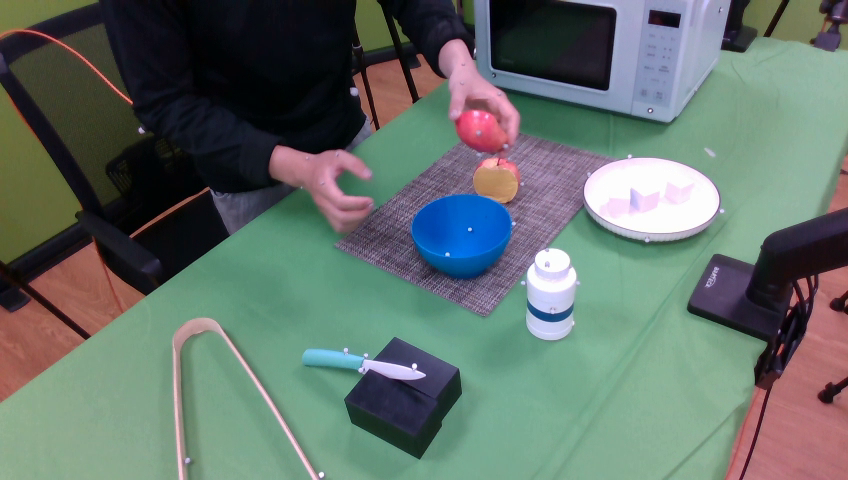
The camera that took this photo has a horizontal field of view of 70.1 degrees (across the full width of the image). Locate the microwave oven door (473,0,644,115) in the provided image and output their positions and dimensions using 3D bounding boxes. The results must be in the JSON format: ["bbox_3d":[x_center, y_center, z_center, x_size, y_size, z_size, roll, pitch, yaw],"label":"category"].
[{"bbox_3d":[0.257,-0.396,1.199,0.353,0.245,0.039,21,48,29],"label":"microwave oven door"}]

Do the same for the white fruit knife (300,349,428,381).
[{"bbox_3d":[-0.080,0.155,0.748,0.206,0.027,0.016,0,20,34],"label":"white fruit knife"}]

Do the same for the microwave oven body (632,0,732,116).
[{"bbox_3d":[0.377,-0.462,1.267,0.438,0.261,0.327,21,48,30],"label":"microwave oven body"}]

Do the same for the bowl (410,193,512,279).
[{"bbox_3d":[0.058,0.005,0.905,0.151,0.077,0.150,-4,40,4],"label":"bowl"}]

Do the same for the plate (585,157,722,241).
[{"bbox_3d":[0.367,-0.063,0.979,0.207,0.039,0.206,-4,40,4],"label":"plate"}]

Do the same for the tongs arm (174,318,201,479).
[{"bbox_3d":[-0.272,0.234,0.723,0.051,0.026,0.381,-19,40,-14],"label":"tongs arm"}]

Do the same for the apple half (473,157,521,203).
[{"bbox_3d":[0.127,-0.106,1.030,0.080,0.075,0.053,4,38,19],"label":"apple half"}]

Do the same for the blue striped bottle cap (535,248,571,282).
[{"bbox_3d":[0.161,0.031,0.753,0.044,0.021,0.044,-4,42,4],"label":"blue striped bottle cap"}]

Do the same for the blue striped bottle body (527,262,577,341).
[{"bbox_3d":[0.165,0.070,0.786,0.063,0.121,0.063,-4,41,4],"label":"blue striped bottle body"}]

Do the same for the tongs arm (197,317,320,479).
[{"bbox_3d":[-0.199,0.207,0.750,0.028,0.028,0.384,-31,45,-22],"label":"tongs arm"}]

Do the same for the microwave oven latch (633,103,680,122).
[{"bbox_3d":[0.444,-0.249,1.157,0.078,0.029,0.030,21,49,30],"label":"microwave oven latch"}]

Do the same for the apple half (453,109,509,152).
[{"bbox_3d":[0.072,-0.142,0.830,0.081,0.082,0.033,14,65,24],"label":"apple half"}]
